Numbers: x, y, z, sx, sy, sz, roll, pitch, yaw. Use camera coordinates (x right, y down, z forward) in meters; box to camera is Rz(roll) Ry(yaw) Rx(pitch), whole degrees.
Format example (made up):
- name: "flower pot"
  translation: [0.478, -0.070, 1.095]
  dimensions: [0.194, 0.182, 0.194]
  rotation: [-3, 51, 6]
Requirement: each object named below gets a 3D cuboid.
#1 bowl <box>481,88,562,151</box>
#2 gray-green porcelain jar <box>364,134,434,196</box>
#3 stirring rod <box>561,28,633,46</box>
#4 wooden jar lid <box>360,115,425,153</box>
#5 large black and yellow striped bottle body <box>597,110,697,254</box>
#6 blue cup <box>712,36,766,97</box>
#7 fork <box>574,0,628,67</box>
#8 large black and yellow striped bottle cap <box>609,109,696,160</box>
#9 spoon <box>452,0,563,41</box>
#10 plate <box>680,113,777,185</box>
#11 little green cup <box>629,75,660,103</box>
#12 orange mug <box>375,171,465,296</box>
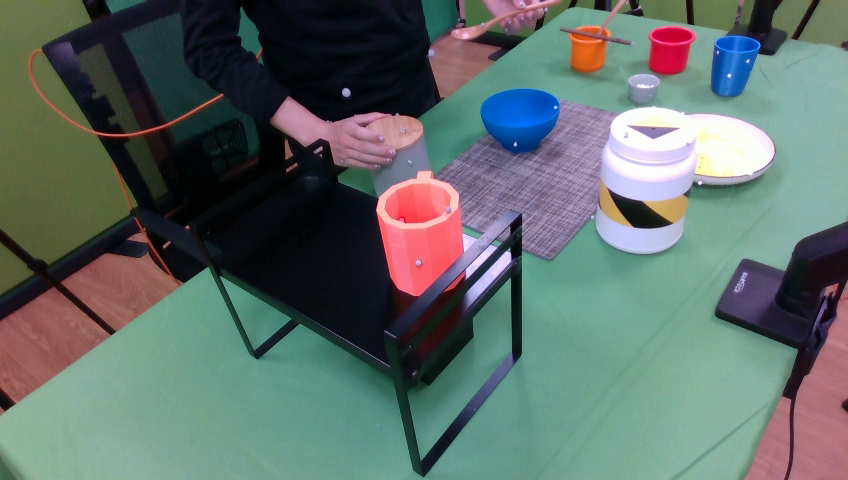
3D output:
- name: "bowl"
  translation: [0.187, -0.223, 1.161]
  dimensions: [0.151, 0.077, 0.150]
  rotation: [-4, 40, 4]
- name: "gray-green porcelain jar"
  translation: [-0.040, -0.127, 1.050]
  dimensions: [0.106, 0.127, 0.105]
  rotation: [-8, 40, 7]
- name: "stirring rod"
  translation: [0.382, -0.453, 1.345]
  dimensions: [0.174, 0.006, 0.014]
  rotation: [27, 53, 33]
- name: "wooden jar lid"
  translation: [-0.052, -0.173, 1.010]
  dimensions: [0.108, 0.021, 0.108]
  rotation: [-6, 40, 6]
- name: "large black and yellow striped bottle body"
  translation: [0.331, -0.086, 0.904]
  dimensions: [0.131, 0.185, 0.130]
  rotation: [-5, 41, 4]
- name: "blue cup"
  translation: [0.627, -0.350, 1.227]
  dimensions: [0.092, 0.100, 0.092]
  rotation: [-4, 39, 4]
- name: "fork"
  translation: [0.413, -0.481, 1.377]
  dimensions: [0.207, 0.019, 0.028]
  rotation: [-56, 43, 12]
- name: "large black and yellow striped bottle cap"
  translation: [0.319, -0.150, 0.849]
  dimensions: [0.115, 0.019, 0.114]
  rotation: [-4, 39, 3]
- name: "spoon"
  translation: [0.142, -0.380, 1.038]
  dimensions: [0.193, 0.022, 0.041]
  rotation: [-17, 40, 15]
- name: "plate"
  translation: [0.506, -0.158, 1.073]
  dimensions: [0.209, 0.038, 0.208]
  rotation: [-5, 40, 4]
- name: "little green cup"
  translation: [0.457, -0.314, 1.260]
  dimensions: [0.061, 0.039, 0.061]
  rotation: [-4, 40, 4]
- name: "orange mug"
  translation: [0.000, -0.016, 0.661]
  dimensions: [0.083, 0.101, 0.125]
  rotation: [-2, 45, 8]
